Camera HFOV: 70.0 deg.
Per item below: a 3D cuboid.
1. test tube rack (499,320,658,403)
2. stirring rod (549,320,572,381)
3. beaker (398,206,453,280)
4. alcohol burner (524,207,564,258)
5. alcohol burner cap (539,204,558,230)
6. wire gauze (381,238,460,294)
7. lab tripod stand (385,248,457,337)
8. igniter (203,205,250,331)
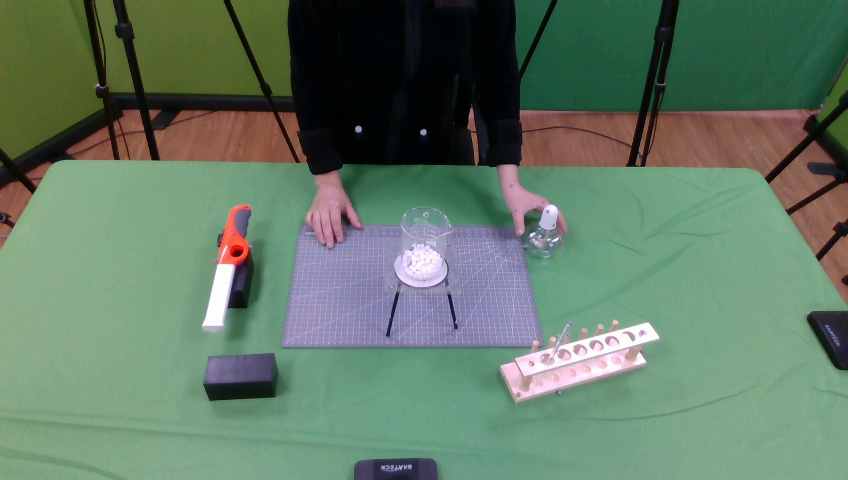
[{"bbox_3d":[0.252,0.187,0.994,0.243,0.085,0.066,-12,48,-15],"label":"test tube rack"},{"bbox_3d":[0.202,0.167,0.901,0.006,0.177,0.014,-17,55,-11],"label":"stirring rod"},{"bbox_3d":[0.000,0.008,0.950,0.084,0.101,0.073,10,45,6],"label":"beaker"},{"bbox_3d":[0.236,-0.021,1.174,0.078,0.120,0.077,1,48,-1],"label":"alcohol burner"},{"bbox_3d":[0.239,-0.045,1.148,0.034,0.048,0.033,2,43,-1],"label":"alcohol burner cap"},{"bbox_3d":[-0.007,0.042,0.985,0.125,0.011,0.120,-1,43,-2],"label":"wire gauze"},{"bbox_3d":[-0.010,0.087,1.032,0.148,0.132,0.147,1,45,-1],"label":"lab tripod stand"},{"bbox_3d":[-0.345,0.039,1.065,0.057,0.025,0.274,2,48,-6],"label":"igniter"}]
